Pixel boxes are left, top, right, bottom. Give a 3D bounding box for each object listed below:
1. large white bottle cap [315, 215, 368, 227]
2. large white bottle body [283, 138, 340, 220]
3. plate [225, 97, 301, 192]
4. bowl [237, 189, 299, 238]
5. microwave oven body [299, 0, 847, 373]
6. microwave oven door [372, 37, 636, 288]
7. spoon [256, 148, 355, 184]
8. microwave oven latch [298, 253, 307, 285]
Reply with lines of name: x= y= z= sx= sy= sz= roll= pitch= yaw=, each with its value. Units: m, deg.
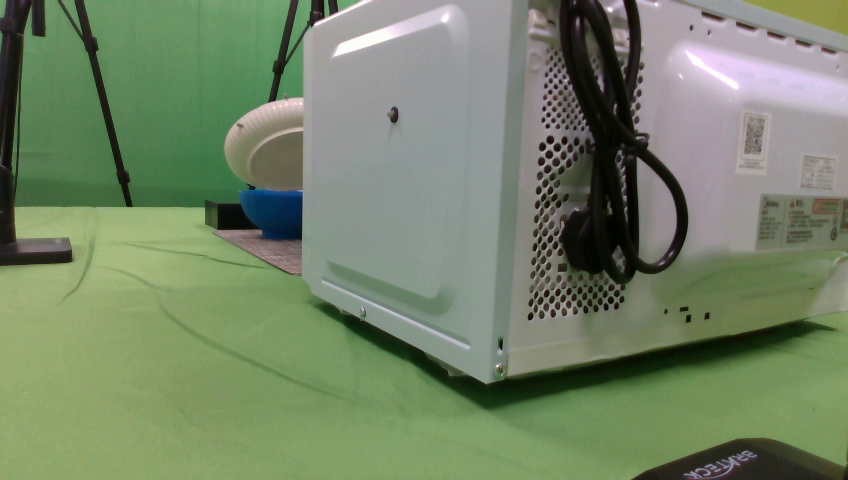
large white bottle cap: x=-0.178 y=-0.041 z=1.309 sx=0.115 sy=0.018 sz=0.115 roll=2 pitch=7 yaw=0
large white bottle body: x=-0.265 y=-0.144 z=1.424 sx=0.131 sy=0.184 sz=0.130 roll=2 pitch=7 yaw=0
plate: x=-0.198 y=-0.135 z=0.937 sx=0.209 sy=0.038 sz=0.209 roll=-16 pitch=-26 yaw=-8
bowl: x=-0.245 y=-0.046 z=1.053 sx=0.151 sy=0.077 sz=0.151 roll=3 pitch=8 yaw=0
microwave oven body: x=0.151 y=-0.055 z=0.542 sx=0.444 sy=0.260 sz=0.324 roll=-2 pitch=7 yaw=-33
microwave oven door: x=0.110 y=-0.080 z=0.686 sx=0.358 sy=0.243 sz=0.039 roll=-2 pitch=9 yaw=-33
spoon: x=-0.204 y=-0.136 z=1.065 sx=0.194 sy=0.041 sz=0.021 roll=-20 pitch=-4 yaw=-29
microwave oven latch: x=-0.081 y=0.027 z=0.582 sx=0.079 sy=0.029 sz=0.030 roll=-1 pitch=7 yaw=-32
